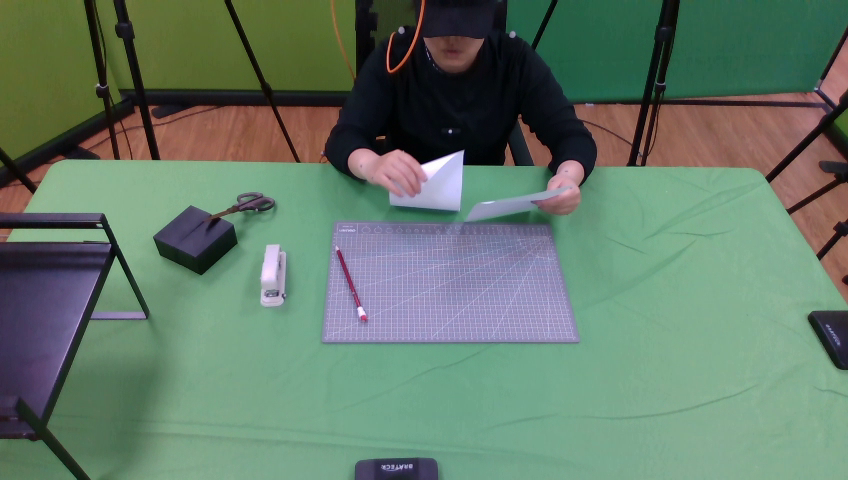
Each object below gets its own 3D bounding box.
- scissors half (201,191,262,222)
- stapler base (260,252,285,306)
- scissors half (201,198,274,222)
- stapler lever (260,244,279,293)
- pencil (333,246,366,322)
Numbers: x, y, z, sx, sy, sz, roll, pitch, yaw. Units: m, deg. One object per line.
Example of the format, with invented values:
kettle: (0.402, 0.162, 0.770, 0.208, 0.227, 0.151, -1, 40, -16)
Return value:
scissors half: (-0.381, -0.066, 1.198, 0.040, 0.013, 0.175, 24, 28, 10)
stapler base: (-0.279, 0.064, 1.113, 0.041, 0.024, 0.129, -1, 44, -9)
scissors half: (-0.364, -0.056, 1.192, 0.040, 0.013, 0.175, 38, 32, 22)
stapler lever: (-0.279, 0.045, 1.096, 0.027, 0.040, 0.117, -1, 44, -9)
pencil: (-0.140, 0.077, 1.116, 0.012, 0.012, 0.192, -14, 48, -17)
